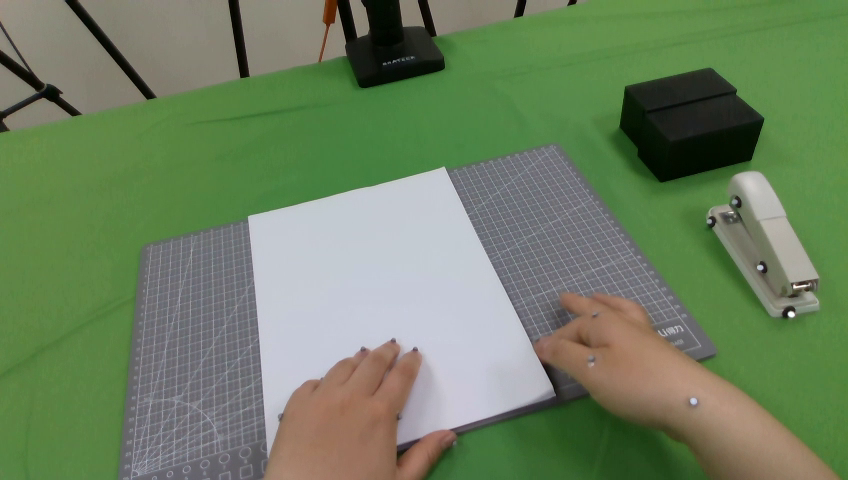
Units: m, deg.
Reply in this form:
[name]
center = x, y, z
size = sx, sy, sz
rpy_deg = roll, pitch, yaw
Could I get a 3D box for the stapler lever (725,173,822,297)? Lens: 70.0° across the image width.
[stapler lever]
center = 0.286, -0.008, 0.498
size = 0.027, 0.040, 0.117
rpy_deg = -11, 46, 1

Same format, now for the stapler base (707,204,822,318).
[stapler base]
center = 0.288, 0.008, 0.517
size = 0.041, 0.025, 0.129
rpy_deg = -11, 46, 1
